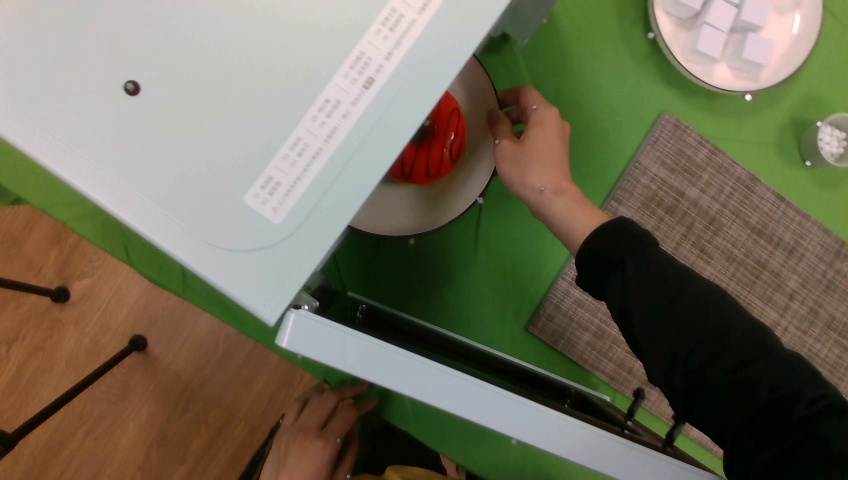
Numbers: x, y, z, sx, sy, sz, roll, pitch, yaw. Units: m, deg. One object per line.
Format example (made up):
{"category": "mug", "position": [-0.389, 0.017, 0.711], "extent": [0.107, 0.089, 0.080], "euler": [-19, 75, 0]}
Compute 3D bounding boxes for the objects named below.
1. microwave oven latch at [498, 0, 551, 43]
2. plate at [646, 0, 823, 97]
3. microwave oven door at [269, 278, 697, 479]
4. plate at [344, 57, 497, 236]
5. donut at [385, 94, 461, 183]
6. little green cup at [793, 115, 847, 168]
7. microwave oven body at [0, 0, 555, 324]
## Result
{"category": "microwave oven latch", "position": [0.116, -0.253, 0.653], "extent": [0.030, 0.029, 0.079], "euler": [41, 87, -6]}
{"category": "plate", "position": [0.352, -0.266, 0.698], "extent": [0.208, 0.039, 0.207], "euler": [0, 91, -6]}
{"category": "microwave oven door", "position": [0.047, 0.126, 0.551], "extent": [0.357, 0.243, 0.039], "euler": [23, 87, -6]}
{"category": "plate", "position": [-0.035, -0.108, 0.585], "extent": [0.209, 0.038, 0.209], "euler": [0, 91, -5]}
{"category": "donut", "position": [-0.014, -0.102, 0.572], "extent": [0.099, 0.048, 0.099], "euler": [1, 87, -9]}
{"category": "little green cup", "position": [0.471, -0.113, 0.714], "extent": [0.061, 0.038, 0.061], "euler": [0, 90, -6]}
{"category": "microwave oven body", "position": [-0.098, -0.198, 0.533], "extent": [0.327, 0.259, 0.441], "euler": [37, 88, -6]}
